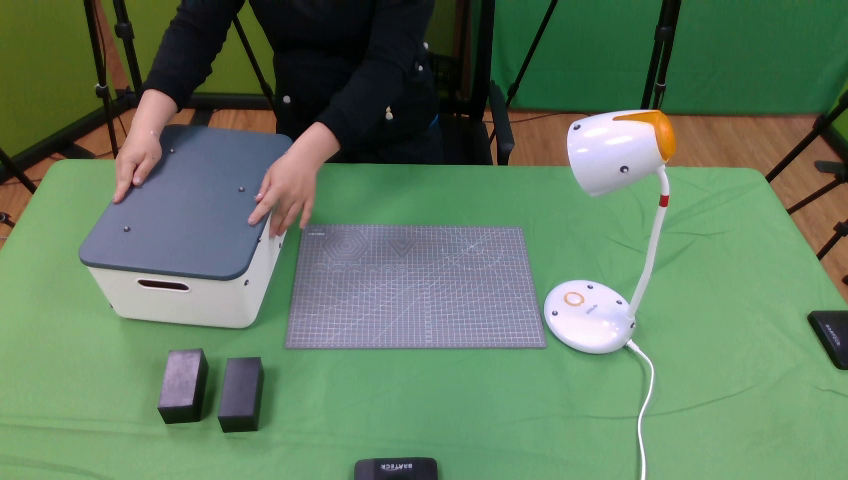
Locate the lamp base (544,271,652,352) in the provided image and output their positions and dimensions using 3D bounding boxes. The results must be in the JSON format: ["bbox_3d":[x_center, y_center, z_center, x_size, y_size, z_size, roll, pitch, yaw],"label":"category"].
[{"bbox_3d":[0.310,0.086,1.029,0.178,0.181,0.160,32,52,21],"label":"lamp base"}]

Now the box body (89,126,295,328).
[{"bbox_3d":[-0.394,-0.029,1.098,0.254,0.161,0.362,5,46,1],"label":"box body"}]

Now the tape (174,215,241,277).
[{"bbox_3d":[-0.402,0.011,1.127,0.117,0.053,0.116,2,46,-2],"label":"tape"}]

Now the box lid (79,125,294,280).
[{"bbox_3d":[-0.391,-0.078,1.044,0.263,0.015,0.369,5,45,1],"label":"box lid"}]

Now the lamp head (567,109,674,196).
[{"bbox_3d":[0.272,-0.123,0.818,0.122,0.113,0.112,-9,35,37],"label":"lamp head"}]
